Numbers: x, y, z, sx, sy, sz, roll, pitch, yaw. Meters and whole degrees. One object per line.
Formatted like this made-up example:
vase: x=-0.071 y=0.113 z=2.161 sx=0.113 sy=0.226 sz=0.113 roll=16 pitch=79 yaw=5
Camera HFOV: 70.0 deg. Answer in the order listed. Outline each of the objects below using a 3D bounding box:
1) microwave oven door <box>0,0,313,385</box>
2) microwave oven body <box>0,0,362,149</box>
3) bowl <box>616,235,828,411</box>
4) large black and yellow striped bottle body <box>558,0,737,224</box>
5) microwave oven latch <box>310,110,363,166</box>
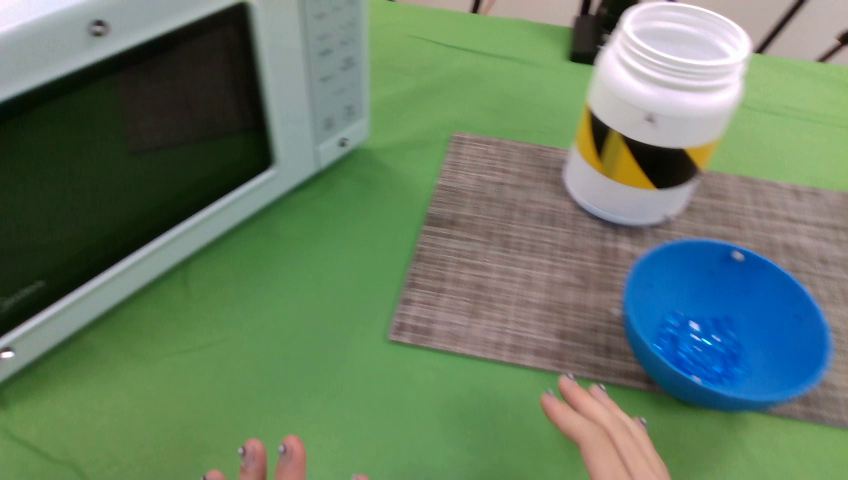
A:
microwave oven door: x=-0.234 y=-0.060 z=0.447 sx=0.039 sy=0.246 sz=0.355 roll=31 pitch=53 yaw=24
microwave oven body: x=-0.322 y=-0.149 z=0.531 sx=0.323 sy=0.262 sz=0.441 roll=32 pitch=54 yaw=23
bowl: x=0.220 y=0.076 z=0.479 sx=0.151 sy=0.077 sz=0.150 roll=2 pitch=47 yaw=-1
large black and yellow striped bottle body: x=0.211 y=-0.121 z=0.588 sx=0.131 sy=0.185 sz=0.129 roll=2 pitch=47 yaw=-2
microwave oven latch: x=-0.099 y=-0.112 z=0.642 sx=0.030 sy=0.030 sz=0.079 roll=34 pitch=55 yaw=24
